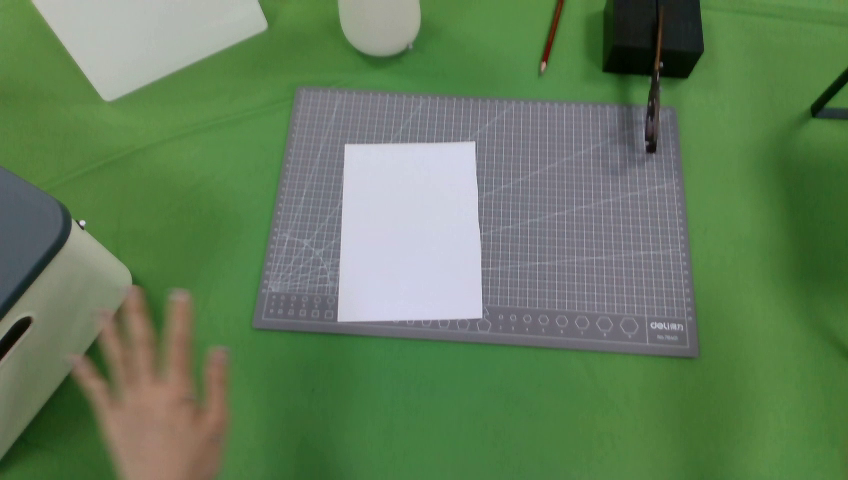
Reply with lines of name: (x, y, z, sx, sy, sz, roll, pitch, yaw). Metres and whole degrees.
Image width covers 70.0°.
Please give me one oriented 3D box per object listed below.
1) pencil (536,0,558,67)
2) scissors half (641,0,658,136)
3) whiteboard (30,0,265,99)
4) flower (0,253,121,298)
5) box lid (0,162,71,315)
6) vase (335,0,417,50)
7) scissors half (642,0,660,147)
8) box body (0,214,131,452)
pencil: (0.163, -0.295, 0.762, 0.012, 0.012, 0.193, 15, 70, 7)
scissors half: (0.251, -0.195, 0.666, 0.013, 0.040, 0.174, 4, 70, 22)
whiteboard: (-0.350, -0.357, 0.663, 0.217, 0.308, 0.142, -29, 51, -10)
flower: (-0.489, 0.052, 0.621, 0.361, 0.038, 0.044, -6, 99, 4)
box lid: (-0.504, -0.003, 0.489, 0.370, 0.015, 0.262, 28, 71, 10)
vase: (-0.059, -0.305, 0.666, 0.098, 0.201, 0.097, -1, 67, 2)
scissors half: (0.260, -0.191, 0.684, 0.012, 0.040, 0.175, 4, 87, 27)
box body: (-0.501, 0.025, 0.557, 0.363, 0.161, 0.253, 27, 71, 10)
